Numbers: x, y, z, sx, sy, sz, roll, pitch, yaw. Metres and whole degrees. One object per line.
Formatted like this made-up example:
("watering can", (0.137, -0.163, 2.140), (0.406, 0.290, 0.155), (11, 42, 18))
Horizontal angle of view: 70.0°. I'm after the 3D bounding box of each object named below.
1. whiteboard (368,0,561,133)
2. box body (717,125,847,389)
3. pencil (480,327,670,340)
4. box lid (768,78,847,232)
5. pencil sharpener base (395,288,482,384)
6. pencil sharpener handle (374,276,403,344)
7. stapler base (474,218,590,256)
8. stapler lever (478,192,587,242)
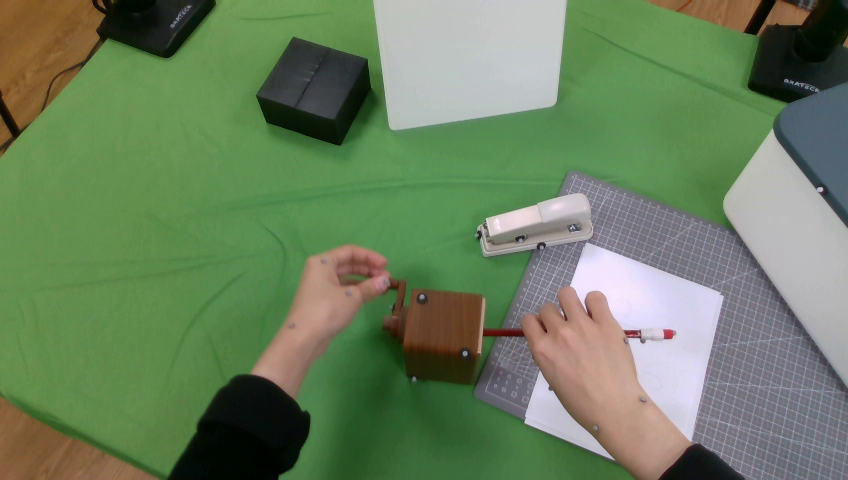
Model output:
("whiteboard", (0.037, -0.307, 0.707), (0.217, 0.308, 0.142), (-9, 44, -4))
("box body", (0.506, 0.020, 0.592), (0.254, 0.161, 0.360), (-21, 65, -11))
("pencil", (0.125, 0.085, 0.553), (0.194, 0.012, 0.012), (0, 63, 3))
("box lid", (0.505, -0.015, 0.527), (0.263, 0.015, 0.368), (-21, 66, -11))
("pencil sharpener base", (0.013, 0.094, 0.583), (0.076, 0.108, 0.061), (6, 64, 3))
("pencil sharpener handle", (-0.036, 0.064, 0.569), (0.030, 0.036, 0.067), (6, 56, 3))
("stapler base", (0.122, -0.014, 0.682), (0.130, 0.024, 0.041), (-10, 60, -2))
("stapler lever", (0.120, -0.025, 0.660), (0.118, 0.040, 0.026), (-10, 59, -2))
